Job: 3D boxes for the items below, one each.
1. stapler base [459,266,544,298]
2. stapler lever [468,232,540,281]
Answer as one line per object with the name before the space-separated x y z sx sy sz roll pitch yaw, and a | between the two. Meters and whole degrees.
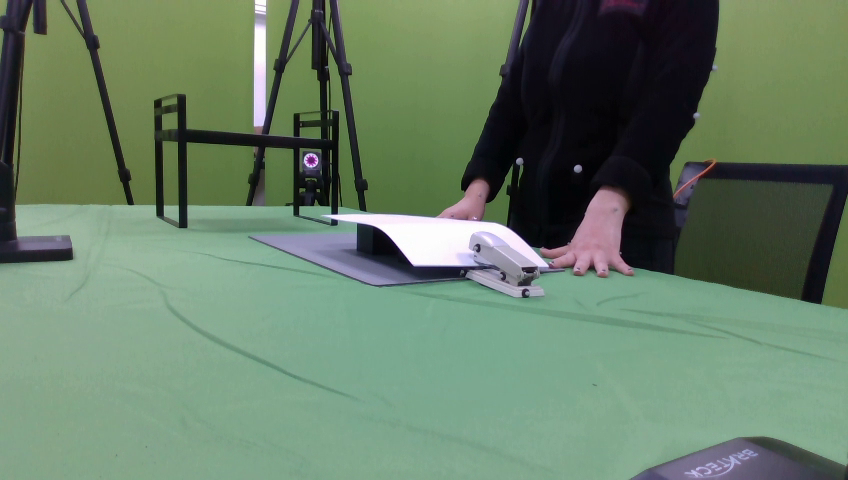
stapler base | 0.087 0.042 0.705 0.041 0.024 0.130 -2 11 -27
stapler lever | 0.090 0.018 0.701 0.027 0.040 0.117 -2 11 -27
